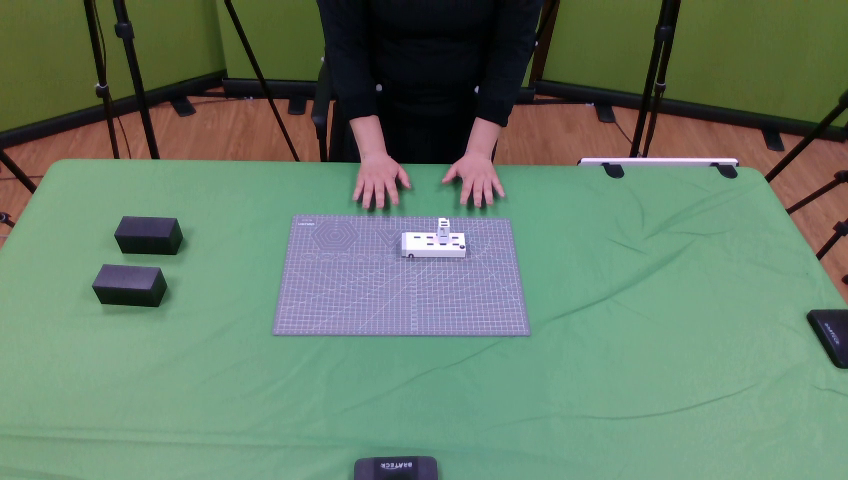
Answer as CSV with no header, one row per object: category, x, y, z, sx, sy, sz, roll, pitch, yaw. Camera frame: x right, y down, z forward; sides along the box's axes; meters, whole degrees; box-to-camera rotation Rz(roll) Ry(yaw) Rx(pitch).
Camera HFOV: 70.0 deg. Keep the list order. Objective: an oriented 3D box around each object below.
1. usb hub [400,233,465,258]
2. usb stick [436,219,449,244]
usb hub,0.017,0.011,1.182,0.125,0.025,0.049,1,46,-3
usb stick,0.035,-0.012,1.166,0.021,0.059,0.027,-2,48,-6
